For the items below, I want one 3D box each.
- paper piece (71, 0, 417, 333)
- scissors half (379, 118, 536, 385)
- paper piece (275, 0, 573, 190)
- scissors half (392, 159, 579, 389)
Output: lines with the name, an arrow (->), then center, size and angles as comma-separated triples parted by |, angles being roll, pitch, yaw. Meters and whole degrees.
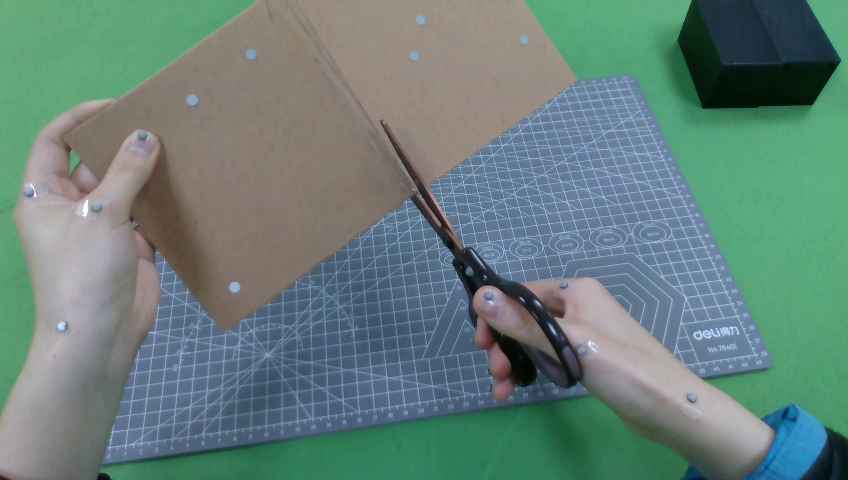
paper piece -> -0.099, -0.041, 0.334 | 0.138, 0.008, 0.136 | -36, 91, 1
scissors half -> 0.018, 0.010, 0.345 | 0.013, 0.176, 0.040 | -32, 16, -13
paper piece -> 0.006, -0.118, 0.354 | 0.135, 0.004, 0.135 | -36, 94, -19
scissors half -> 0.022, 0.004, 0.321 | 0.013, 0.040, 0.173 | -31, 65, -18
